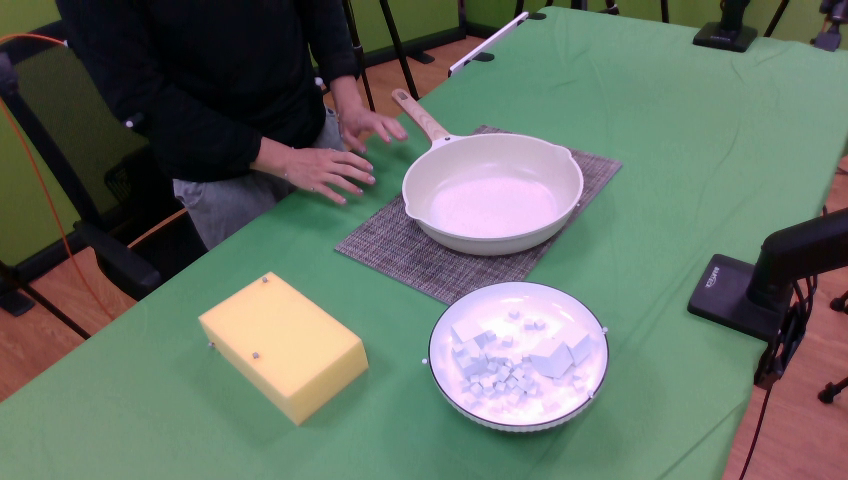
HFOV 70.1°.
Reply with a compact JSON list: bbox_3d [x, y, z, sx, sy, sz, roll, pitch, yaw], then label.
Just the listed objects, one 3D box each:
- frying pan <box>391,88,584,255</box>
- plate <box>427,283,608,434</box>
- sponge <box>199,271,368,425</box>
[{"bbox_3d":[0.063,-0.143,1.056,0.308,0.103,0.483,-22,51,-18],"label":"frying pan"},{"bbox_3d":[0.108,0.137,0.708,0.207,0.039,0.206,-4,42,4],"label":"plate"},{"bbox_3d":[-0.189,0.136,0.807,0.205,0.061,0.118,29,52,35],"label":"sponge"}]
